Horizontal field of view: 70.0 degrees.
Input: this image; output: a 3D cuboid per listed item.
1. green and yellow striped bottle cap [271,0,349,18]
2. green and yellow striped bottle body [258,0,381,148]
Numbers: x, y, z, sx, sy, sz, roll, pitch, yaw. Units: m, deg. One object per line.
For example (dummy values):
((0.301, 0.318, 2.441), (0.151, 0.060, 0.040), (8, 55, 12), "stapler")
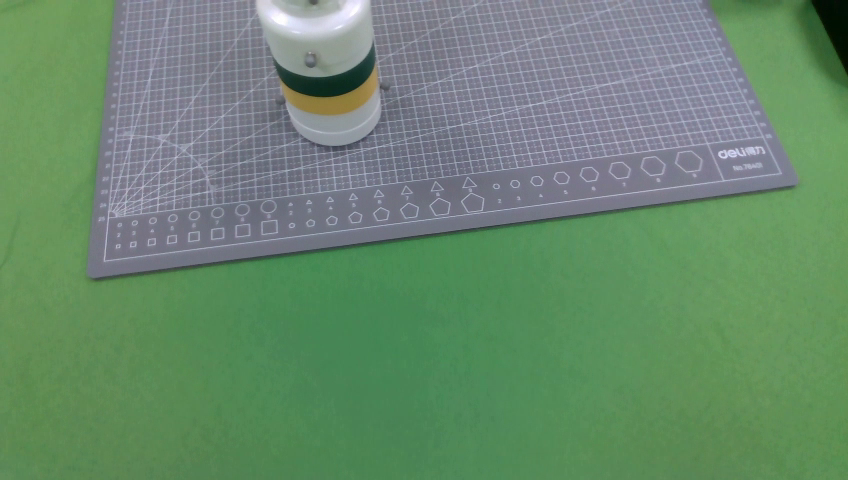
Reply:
((-0.060, -0.138, 0.316), (0.045, 0.020, 0.045), (0, 61, 0), "green and yellow striped bottle cap")
((-0.060, -0.115, 0.363), (0.063, 0.120, 0.062), (0, 62, 0), "green and yellow striped bottle body")
